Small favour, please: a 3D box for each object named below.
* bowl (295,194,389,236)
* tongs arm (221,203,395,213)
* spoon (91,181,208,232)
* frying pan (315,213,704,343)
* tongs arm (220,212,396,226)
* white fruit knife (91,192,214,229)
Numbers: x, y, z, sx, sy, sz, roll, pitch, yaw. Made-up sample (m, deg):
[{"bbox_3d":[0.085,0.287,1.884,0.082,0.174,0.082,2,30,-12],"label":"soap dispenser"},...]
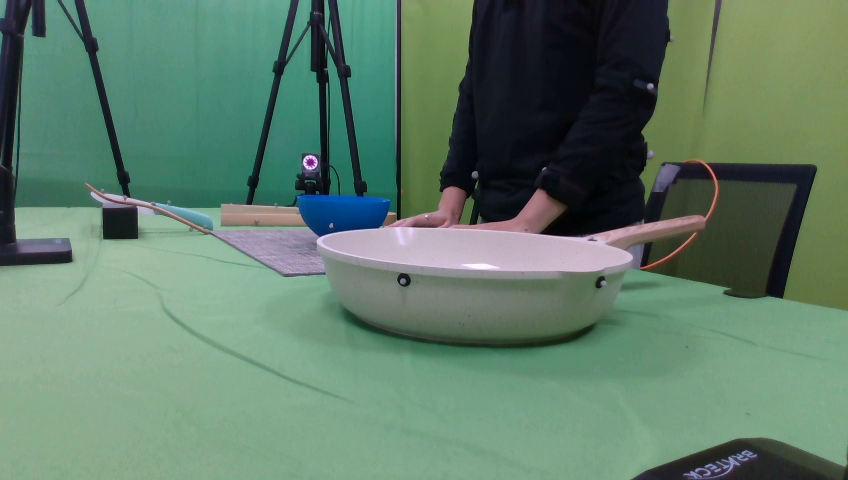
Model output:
[{"bbox_3d":[-0.132,-0.032,0.980,0.151,0.077,0.151,2,7,0],"label":"bowl"},{"bbox_3d":[-0.258,-0.061,1.368,0.386,0.026,0.050,1,8,-14],"label":"tongs arm"},{"bbox_3d":[-0.461,-0.053,1.023,0.195,0.021,0.041,21,22,-24],"label":"spoon"},{"bbox_3d":[0.133,0.013,0.629,0.490,0.102,0.305,-11,14,-29],"label":"frying pan"},{"bbox_3d":[-0.233,-0.046,1.292,0.389,0.028,0.028,-1,6,-27],"label":"tongs arm"},{"bbox_3d":[-0.477,-0.055,1.077,0.208,0.027,0.016,15,-5,-30],"label":"white fruit knife"}]
